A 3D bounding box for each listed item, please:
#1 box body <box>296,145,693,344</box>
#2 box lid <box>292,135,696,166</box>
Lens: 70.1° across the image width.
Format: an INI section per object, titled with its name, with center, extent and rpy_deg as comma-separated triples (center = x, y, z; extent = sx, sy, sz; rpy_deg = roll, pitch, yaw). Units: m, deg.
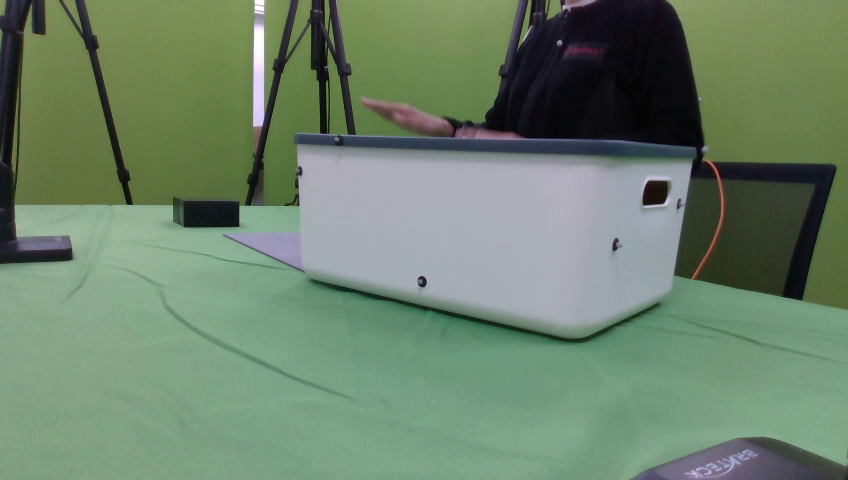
[box body]
center = 0.065, -0.020, 0.653
extent = 0.362, 0.160, 0.255
rpy_deg = 9, 9, 36
[box lid]
center = 0.068, -0.094, 0.645
extent = 0.369, 0.015, 0.265
rpy_deg = 8, 9, 37
